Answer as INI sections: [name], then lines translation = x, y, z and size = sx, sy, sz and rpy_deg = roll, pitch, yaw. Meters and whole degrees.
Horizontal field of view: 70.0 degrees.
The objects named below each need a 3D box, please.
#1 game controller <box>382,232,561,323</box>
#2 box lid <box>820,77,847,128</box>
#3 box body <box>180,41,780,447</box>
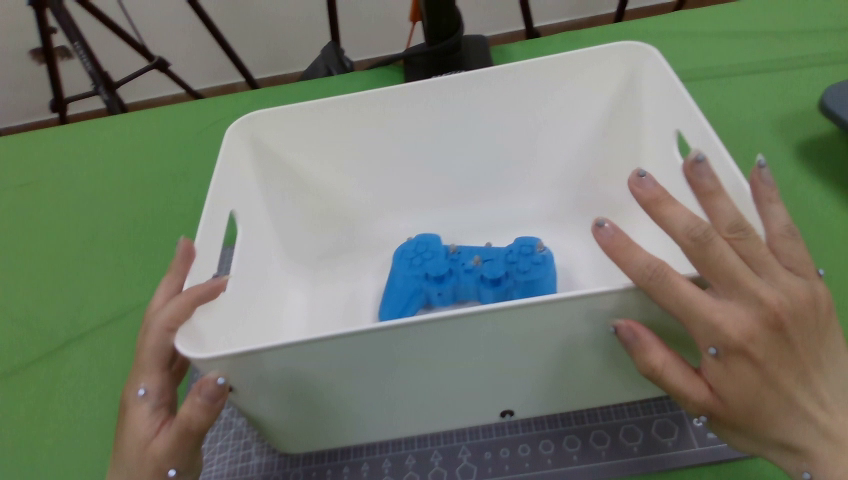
[game controller]
translation = 0.043, 0.032, 0.527
size = 0.155, 0.052, 0.096
rpy_deg = 3, 43, 15
[box lid]
translation = 0.548, -0.064, 0.481
size = 0.263, 0.015, 0.367
rpy_deg = -18, 46, -5
[box body]
translation = 0.033, 0.003, 0.485
size = 0.364, 0.162, 0.251
rpy_deg = -10, 46, 4
